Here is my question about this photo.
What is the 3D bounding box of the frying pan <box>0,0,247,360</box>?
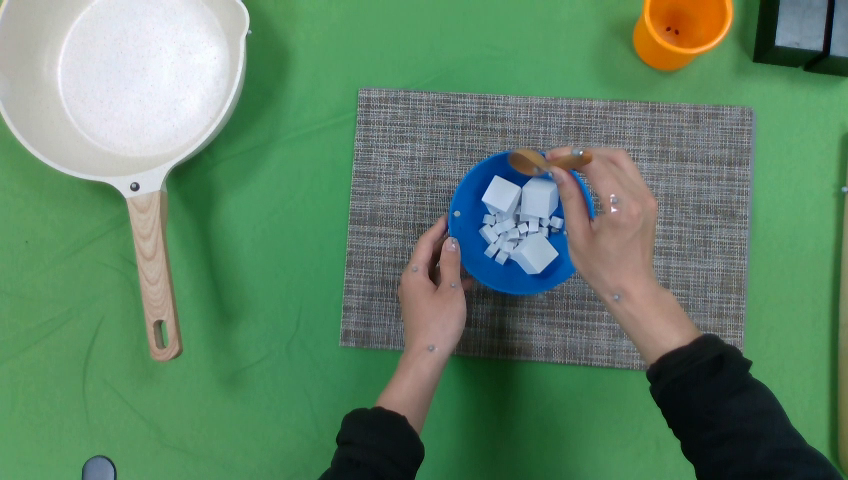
[{"bbox_3d":[-0.318,-0.107,0.672,0.307,0.103,0.485,-13,78,4],"label":"frying pan"}]

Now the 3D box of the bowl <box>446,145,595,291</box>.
[{"bbox_3d":[0.100,-0.020,0.652,0.151,0.077,0.151,0,87,4],"label":"bowl"}]

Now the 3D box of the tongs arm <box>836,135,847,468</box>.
[{"bbox_3d":[0.468,0.062,0.658,0.028,0.028,0.387,3,88,2],"label":"tongs arm"}]

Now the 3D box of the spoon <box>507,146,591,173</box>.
[{"bbox_3d":[0.110,-0.071,0.538,0.042,0.193,0.021,29,95,-8],"label":"spoon"}]
